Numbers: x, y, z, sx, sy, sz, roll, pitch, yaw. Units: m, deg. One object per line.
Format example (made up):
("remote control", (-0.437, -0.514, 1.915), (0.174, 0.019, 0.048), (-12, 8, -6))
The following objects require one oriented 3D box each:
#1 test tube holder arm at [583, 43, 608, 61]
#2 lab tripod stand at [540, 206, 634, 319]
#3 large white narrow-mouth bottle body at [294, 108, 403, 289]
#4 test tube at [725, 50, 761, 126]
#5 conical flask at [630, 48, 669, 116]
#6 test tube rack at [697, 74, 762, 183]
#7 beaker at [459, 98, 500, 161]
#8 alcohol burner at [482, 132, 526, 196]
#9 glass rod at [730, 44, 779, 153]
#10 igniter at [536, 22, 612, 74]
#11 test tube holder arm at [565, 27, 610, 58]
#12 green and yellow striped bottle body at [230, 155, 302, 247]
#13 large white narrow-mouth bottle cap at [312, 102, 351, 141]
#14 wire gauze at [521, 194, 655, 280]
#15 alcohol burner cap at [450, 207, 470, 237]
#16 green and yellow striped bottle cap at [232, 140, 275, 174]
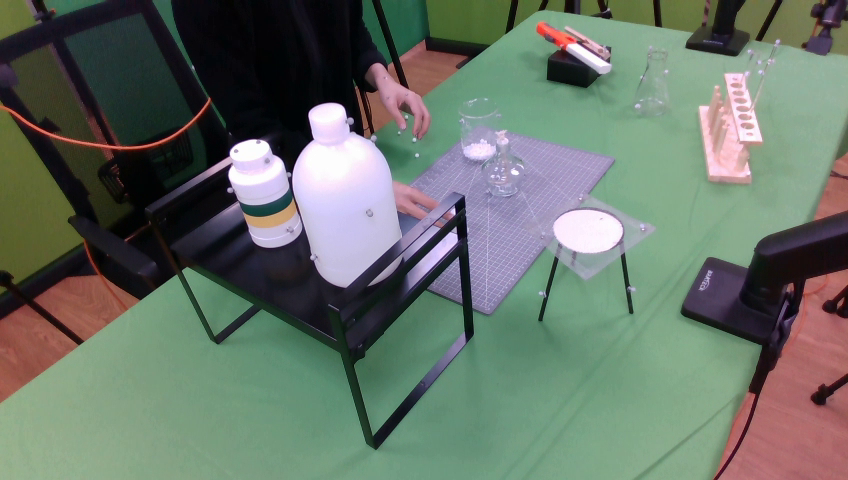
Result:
("test tube holder arm", (0.379, -0.420, 1.341), (0.010, 0.015, 0.087), (-39, 41, 10))
("lab tripod stand", (0.218, 0.034, 0.821), (0.148, 0.132, 0.147), (-4, 42, 4))
("large white narrow-mouth bottle body", (-0.082, -0.047, 0.634), (0.102, 0.195, 0.101), (-4, 40, 3))
("test tube", (0.570, -0.269, 1.086), (0.017, 0.151, 0.017), (-1, 45, 1))
("conical flask", (0.456, -0.317, 1.205), (0.075, 0.122, 0.075), (-4, 41, 4))
("test tube rack", (0.547, -0.208, 1.095), (0.066, 0.085, 0.242), (5, 42, 15))
("beaker", (0.104, -0.208, 1.142), (0.074, 0.101, 0.083), (-20, 42, -15))
("alcohol burner", (0.137, -0.136, 1.042), (0.078, 0.119, 0.077), (-4, 43, 4))
("glass rod", (0.555, -0.233, 1.020), (0.008, 0.200, 0.008), (2, 40, -1))
("igniter", (0.330, -0.439, 1.366), (0.057, 0.025, 0.274), (-11, 41, -20))
("test tube holder arm", (0.369, -0.450, 1.373), (0.013, 0.015, 0.177), (-39, 41, 10))
("green and yellow striped bottle body", (-0.188, -0.055, 0.714), (0.063, 0.120, 0.063), (-4, 41, 4))
("large white narrow-mouth bottle cap", (-0.089, -0.113, 0.579), (0.038, 0.024, 0.037), (-3, 40, 3))
("wire gauze", (0.207, -0.012, 0.772), (0.122, 0.011, 0.124), (-28, 44, -20))
("alcohol burner cap", (0.057, -0.032, 0.987), (0.034, 0.048, 0.033), (-4, 41, 4))
("green and yellow striped bottle cap", (-0.192, -0.094, 0.680), (0.045, 0.020, 0.045), (-5, 39, 5))
